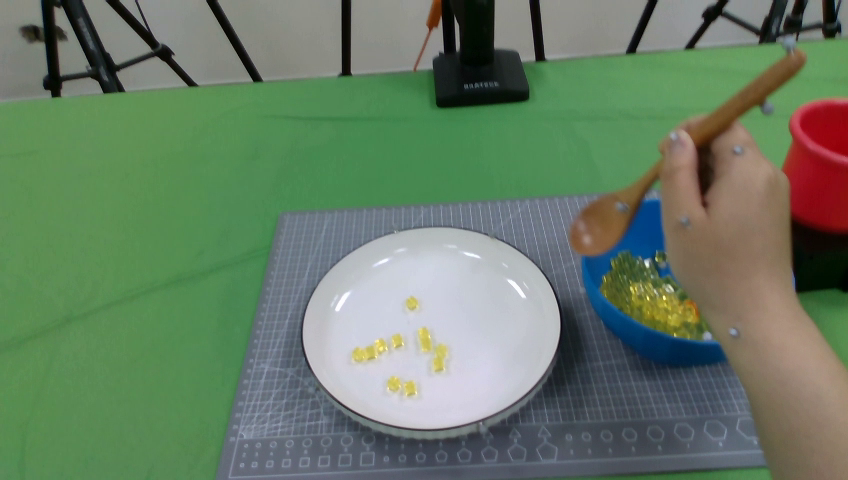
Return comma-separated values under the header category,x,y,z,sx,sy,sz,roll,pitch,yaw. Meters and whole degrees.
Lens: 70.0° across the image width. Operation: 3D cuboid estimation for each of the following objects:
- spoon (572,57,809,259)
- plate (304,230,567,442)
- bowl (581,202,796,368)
category,x,y,z,sx,sy,sz,roll,pitch,yaw
spoon,0.150,-0.041,0.373,0.022,0.194,0.041,6,60,-17
plate,0.009,0.074,0.494,0.207,0.039,0.205,-2,43,3
bowl,0.196,0.047,0.476,0.151,0.077,0.150,-2,43,3
